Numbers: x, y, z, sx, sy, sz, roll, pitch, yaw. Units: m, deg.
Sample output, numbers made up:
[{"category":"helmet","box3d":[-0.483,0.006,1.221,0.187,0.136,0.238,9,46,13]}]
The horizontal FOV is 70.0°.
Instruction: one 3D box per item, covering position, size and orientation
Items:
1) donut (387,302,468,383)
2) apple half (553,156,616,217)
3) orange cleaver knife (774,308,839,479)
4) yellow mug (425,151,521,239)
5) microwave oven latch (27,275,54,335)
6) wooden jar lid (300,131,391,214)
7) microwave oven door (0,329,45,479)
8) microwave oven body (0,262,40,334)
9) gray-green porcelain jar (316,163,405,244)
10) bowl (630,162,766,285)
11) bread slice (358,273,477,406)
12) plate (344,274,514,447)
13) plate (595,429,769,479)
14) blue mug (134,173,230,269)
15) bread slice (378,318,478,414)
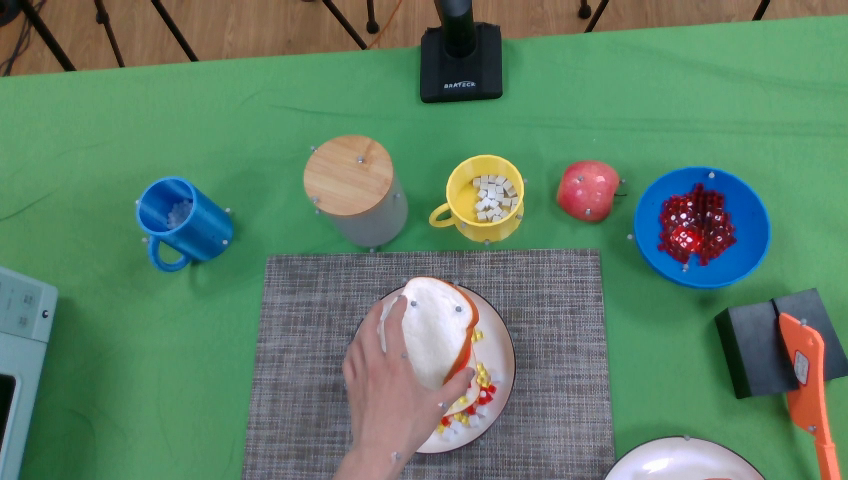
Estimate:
[{"category":"donut","box3d":[0.005,0.122,0.724,0.099,0.048,0.098,-3,72,8]},{"category":"apple half","box3d":[0.210,-0.076,0.787,0.074,0.054,0.080,20,76,16]},{"category":"orange cleaver knife","box3d":[0.415,0.179,0.658,0.012,0.077,0.211,-11,92,-3]},{"category":"yellow mug","box3d":[0.062,-0.052,0.793,0.131,0.064,0.099,-23,70,1]},{"category":"microwave oven latch","box3d":[-0.530,0.089,0.824,0.030,0.030,0.078,2,73,8]},{"category":"wooden jar lid","box3d":[-0.093,-0.079,0.723,0.108,0.021,0.107,-2,69,5]},{"category":"microwave oven door","box3d":[-0.551,0.264,0.661,0.039,0.245,0.353,-1,71,8]},{"category":"microwave oven body","box3d":[-0.694,0.228,0.698,0.325,0.262,0.439,-1,72,7]},{"category":"gray-green porcelain jar","box3d":[-0.083,-0.058,0.783,0.106,0.127,0.105,-2,71,7]},{"category":"bowl","box3d":[0.322,-0.010,0.736,0.151,0.077,0.150,-2,72,8]},{"category":"bread slice","box3d":[-0.006,0.101,0.669,0.104,0.019,0.131,28,94,20]},{"category":"plate","box3d":[0.007,0.146,0.746,0.207,0.039,0.206,-2,72,7]},{"category":"plate","box3d":[0.281,0.313,0.656,0.209,0.038,0.208,-3,72,8]},{"category":"blue mug","box3d":[-0.329,-0.016,0.814,0.082,0.106,0.116,19,75,14]},{"category":"bread slice","box3d":[0.012,0.144,0.746,0.107,0.018,0.133,-19,73,3]}]
